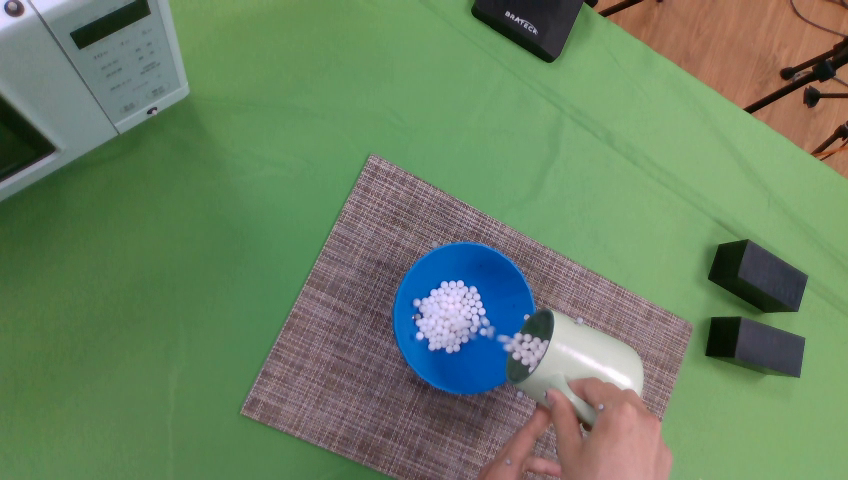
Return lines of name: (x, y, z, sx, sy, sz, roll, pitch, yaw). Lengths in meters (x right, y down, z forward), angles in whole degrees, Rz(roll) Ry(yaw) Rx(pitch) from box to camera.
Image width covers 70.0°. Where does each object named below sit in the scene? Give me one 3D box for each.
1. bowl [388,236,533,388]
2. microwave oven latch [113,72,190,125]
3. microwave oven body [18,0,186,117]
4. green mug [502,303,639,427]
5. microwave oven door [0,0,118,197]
bowl: (0.029, 0.074, 0.630, 0.152, 0.076, 0.151, 2, 83, -16)
microwave oven latch: (-0.263, -0.142, 0.574, 0.079, 0.029, 0.030, -34, 94, -17)
microwave oven body: (-0.458, -0.174, 0.418, 0.441, 0.260, 0.326, -37, 95, -17)
green mug: (0.140, 0.123, 0.560, 0.105, 0.124, 0.092, 30, 105, -12)
microwave oven door: (-0.405, -0.032, 0.412, 0.355, 0.243, 0.039, -37, 93, -17)
